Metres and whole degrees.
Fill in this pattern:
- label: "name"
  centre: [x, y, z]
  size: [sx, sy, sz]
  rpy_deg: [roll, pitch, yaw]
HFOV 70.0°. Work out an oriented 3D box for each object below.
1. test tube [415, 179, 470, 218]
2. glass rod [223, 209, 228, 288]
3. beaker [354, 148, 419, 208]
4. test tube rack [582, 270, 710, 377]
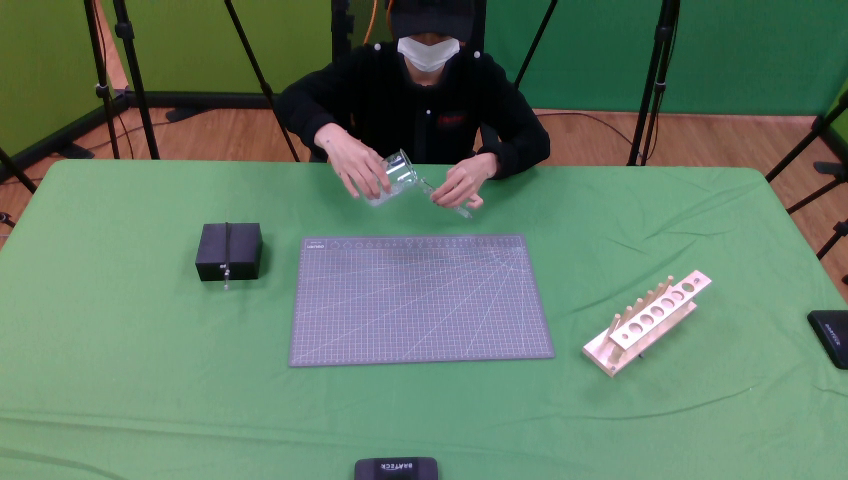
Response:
- label: "test tube"
  centre: [0.039, -0.078, 1.163]
  size: [0.151, 0.017, 0.017]
  rpy_deg: [30, 31, -39]
- label: "glass rod"
  centre: [-0.360, 0.010, 1.098]
  size: [0.008, 0.008, 0.198]
  rpy_deg: [-7, 47, -12]
- label: "beaker"
  centre: [-0.067, -0.108, 1.096]
  size: [0.100, 0.084, 0.073]
  rpy_deg: [-28, 45, 8]
- label: "test tube rack"
  centre: [0.389, 0.132, 1.057]
  size: [0.242, 0.085, 0.066]
  rpy_deg: [-28, 53, -28]
